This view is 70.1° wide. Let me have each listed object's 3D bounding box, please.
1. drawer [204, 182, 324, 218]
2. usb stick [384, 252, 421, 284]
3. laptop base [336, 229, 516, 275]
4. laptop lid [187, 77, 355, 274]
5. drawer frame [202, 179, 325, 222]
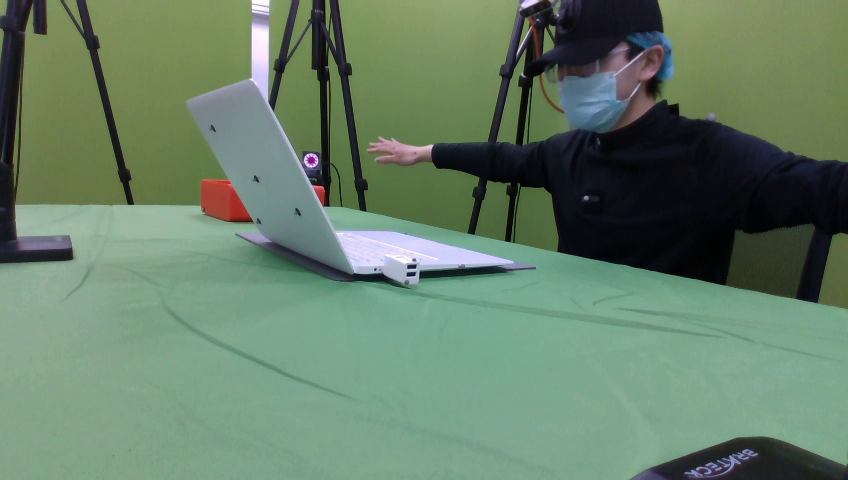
[{"bbox_3d":[-0.360,-0.091,1.358,0.213,0.073,0.193,-4,10,-36],"label":"drawer"},{"bbox_3d":[-0.028,0.029,0.675,0.021,0.027,0.059,-3,10,-33],"label":"usb stick"},{"bbox_3d":[-0.066,0.014,0.877,0.237,0.023,0.352,2,7,-32],"label":"laptop base"},{"bbox_3d":[-0.211,-0.082,0.772,0.013,0.242,0.355,-34,25,-23],"label":"laptop lid"},{"bbox_3d":[-0.361,-0.092,1.356,0.215,0.082,0.200,-4,10,-37],"label":"drawer frame"}]
